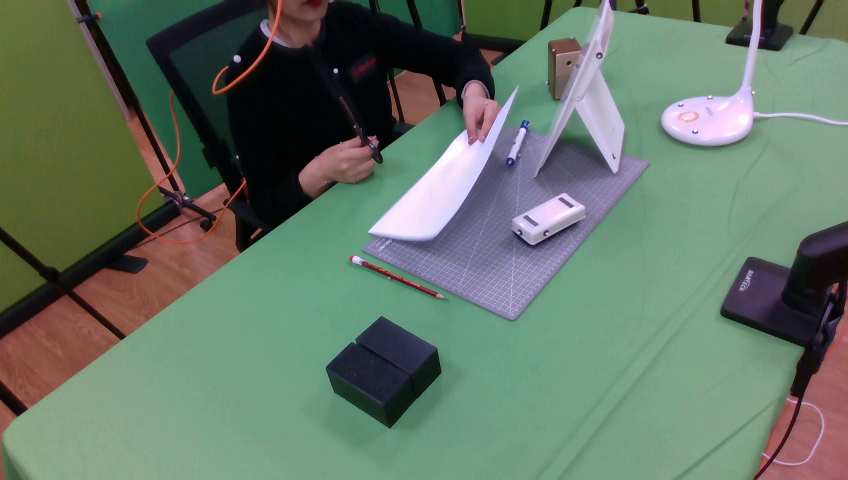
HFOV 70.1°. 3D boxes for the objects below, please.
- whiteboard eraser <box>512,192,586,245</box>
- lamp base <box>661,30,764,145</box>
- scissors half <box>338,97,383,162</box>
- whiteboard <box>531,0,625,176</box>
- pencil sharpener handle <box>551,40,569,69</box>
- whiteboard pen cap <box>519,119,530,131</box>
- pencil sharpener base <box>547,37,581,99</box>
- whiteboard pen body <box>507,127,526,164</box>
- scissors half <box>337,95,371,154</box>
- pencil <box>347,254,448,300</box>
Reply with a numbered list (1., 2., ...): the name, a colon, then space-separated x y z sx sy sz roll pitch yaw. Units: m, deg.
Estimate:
1. whiteboard eraser: 0.199 -0.032 0.962 0.113 0.042 0.055 -27 42 -20
2. lamp base: 0.535 -0.287 1.096 0.179 0.181 0.159 -10 40 -4
3. scissors half: -0.115 -0.198 1.091 0.013 0.176 0.039 -40 50 -4
4. whiteboard: 0.320 -0.258 1.050 0.144 0.306 0.217 22 45 5
5. pencil sharpener handle: 0.291 -0.409 1.320 0.036 0.068 0.030 2 40 -6
6. whiteboard pen cap: 0.199 -0.226 1.204 0.018 0.018 0.033 7 41 18
7. pencil sharpener base: 0.299 -0.368 1.290 0.061 0.107 0.076 -8 40 2
8. whiteboard pen body: 0.181 -0.190 1.162 0.017 0.017 0.140 7 42 18
9. scissors half: -0.126 -0.210 1.102 0.013 0.176 0.040 -44 66 -7
10. pencil: -0.044 0.058 0.933 0.192 0.012 0.012 21 49 28
